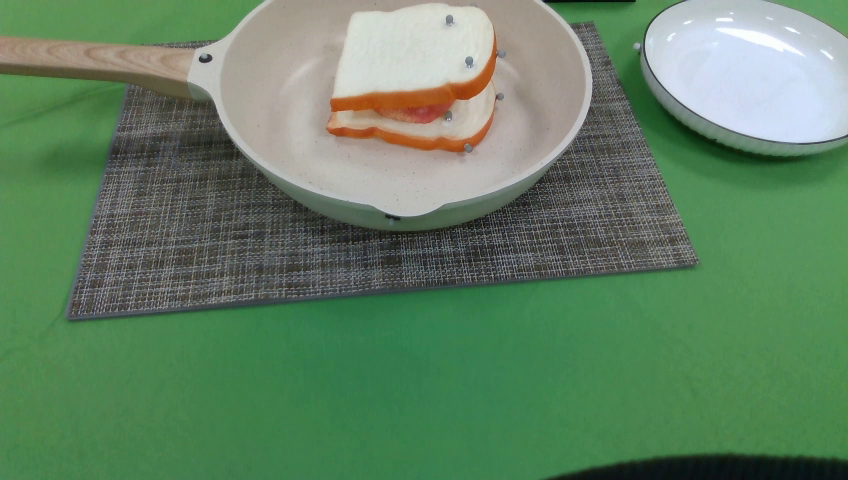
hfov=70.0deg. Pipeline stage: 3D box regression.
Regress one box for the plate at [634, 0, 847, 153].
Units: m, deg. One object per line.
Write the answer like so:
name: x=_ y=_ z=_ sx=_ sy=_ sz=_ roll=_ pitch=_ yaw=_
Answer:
plate: x=0.293 y=-0.151 z=0.552 sx=0.208 sy=0.039 sz=0.205 roll=1 pitch=54 yaw=-1

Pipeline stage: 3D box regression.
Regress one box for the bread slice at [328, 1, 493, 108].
bread slice: x=-0.009 y=-0.155 z=0.492 sx=0.131 sy=0.019 sz=0.104 roll=-1 pitch=60 yaw=12

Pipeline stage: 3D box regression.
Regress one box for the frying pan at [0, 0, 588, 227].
frying pan: x=-0.121 y=-0.132 z=0.481 sx=0.489 sy=0.103 sz=0.303 roll=5 pitch=53 yaw=-8

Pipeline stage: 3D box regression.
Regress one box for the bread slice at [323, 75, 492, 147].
bread slice: x=-0.009 y=-0.125 z=0.526 sx=0.134 sy=0.018 sz=0.106 roll=8 pitch=56 yaw=4
